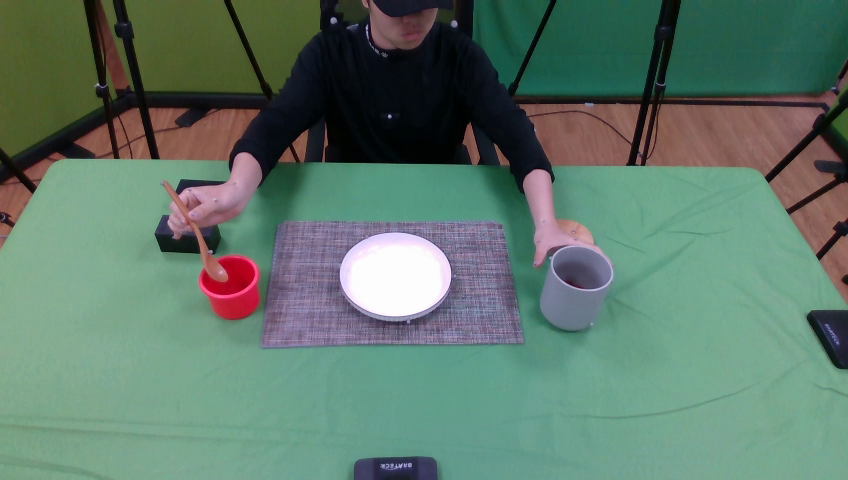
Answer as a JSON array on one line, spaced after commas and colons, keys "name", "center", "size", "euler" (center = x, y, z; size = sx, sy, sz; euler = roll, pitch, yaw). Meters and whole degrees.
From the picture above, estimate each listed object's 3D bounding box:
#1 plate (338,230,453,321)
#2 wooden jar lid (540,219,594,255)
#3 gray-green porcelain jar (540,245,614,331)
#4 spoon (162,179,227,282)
[{"name": "plate", "center": [-0.051, 0.068, 1.111], "size": [0.208, 0.039, 0.206], "euler": [2, 46, -2]}, {"name": "wooden jar lid", "center": [0.287, 0.001, 1.219], "size": [0.108, 0.021, 0.107], "euler": [1, 46, -1]}, {"name": "gray-green porcelain jar", "center": [0.262, 0.088, 1.058], "size": [0.106, 0.127, 0.105], "euler": [2, 46, -2]}, {"name": "spoon", "center": [-0.375, -0.014, 0.993], "size": [0.021, 0.194, 0.041], "euler": [-15, 22, 11]}]
